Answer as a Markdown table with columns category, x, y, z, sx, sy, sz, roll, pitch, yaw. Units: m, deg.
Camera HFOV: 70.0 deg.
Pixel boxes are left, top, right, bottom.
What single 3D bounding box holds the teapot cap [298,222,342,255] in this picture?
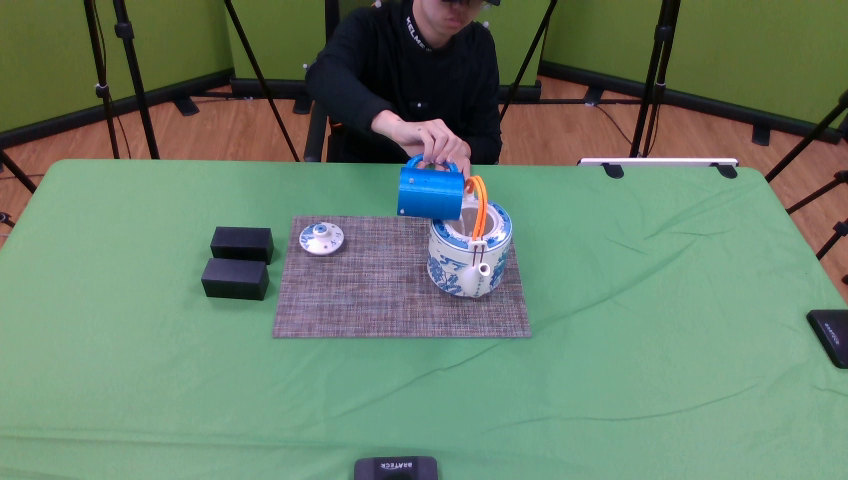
| category | x | y | z | sx | sy | sz | roll | pitch | yaw |
| --- | --- | --- | --- | --- | --- | --- | --- | --- | --- |
| teapot cap | -0.201 | -0.008 | 1.171 | 0.085 | 0.044 | 0.084 | 1 | 48 | -1 |

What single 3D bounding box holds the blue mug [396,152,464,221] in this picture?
| category | x | y | z | sx | sy | sz | roll | pitch | yaw |
| --- | --- | --- | --- | --- | --- | --- | --- | --- | --- |
| blue mug | 0.010 | -0.093 | 1.019 | 0.106 | 0.082 | 0.116 | 5 | 76 | -3 |

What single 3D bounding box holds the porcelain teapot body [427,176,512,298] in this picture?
| category | x | y | z | sx | sy | sz | roll | pitch | yaw |
| --- | --- | --- | --- | --- | --- | --- | --- | --- | --- |
| porcelain teapot body | 0.085 | 0.009 | 1.051 | 0.145 | 0.226 | 0.204 | -5 | 47 | -8 |
